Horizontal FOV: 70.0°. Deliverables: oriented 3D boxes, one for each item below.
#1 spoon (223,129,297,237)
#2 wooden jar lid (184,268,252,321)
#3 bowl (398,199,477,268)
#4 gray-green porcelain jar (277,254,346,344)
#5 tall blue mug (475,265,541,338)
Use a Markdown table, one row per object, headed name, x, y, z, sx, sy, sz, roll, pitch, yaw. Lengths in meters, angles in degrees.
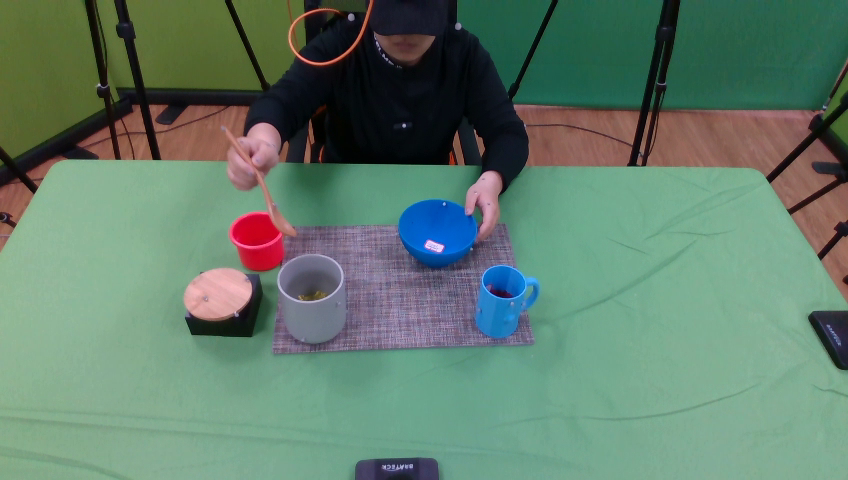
| name | x | y | z | sx | sy | sz | roll | pitch | yaw |
| --- | --- | --- | --- | --- | --- | --- | --- | --- | --- |
| spoon | -0.253 | -0.086 | 0.936 | 0.021 | 0.194 | 0.041 | -24 | 13 | 9 |
| wooden jar lid | -0.343 | 0.093 | 1.015 | 0.108 | 0.021 | 0.107 | 3 | 46 | -3 |
| bowl | 0.024 | -0.001 | 1.156 | 0.151 | 0.077 | 0.150 | 2 | 46 | -2 |
| gray-green porcelain jar | -0.184 | 0.102 | 1.008 | 0.106 | 0.127 | 0.105 | 2 | 46 | -2 |
| tall blue mug | 0.142 | 0.099 | 1.047 | 0.077 | 0.108 | 0.107 | 33 | 52 | 27 |
